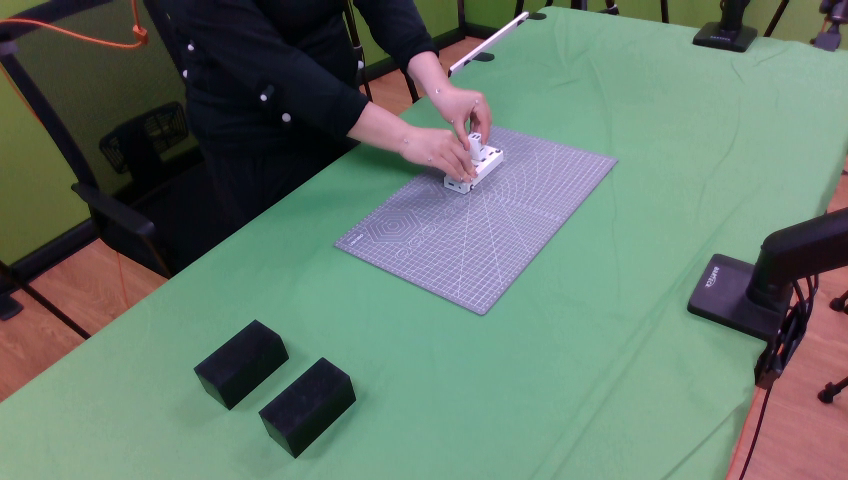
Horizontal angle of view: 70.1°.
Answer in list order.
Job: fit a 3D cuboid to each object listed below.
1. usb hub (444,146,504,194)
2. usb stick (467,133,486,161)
[{"bbox_3d":[0.092,-0.129,1.103,0.049,0.025,0.125,24,50,31],"label":"usb hub"},{"bbox_3d":[0.096,-0.162,1.094,0.027,0.059,0.021,19,47,31],"label":"usb stick"}]
